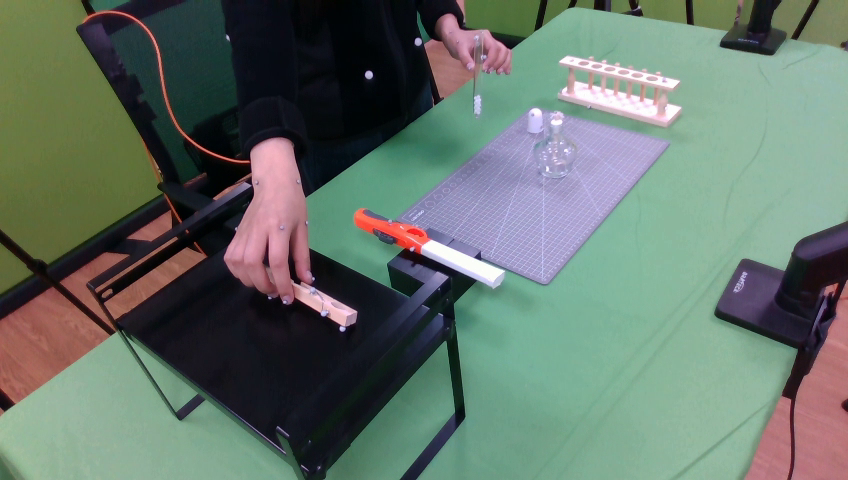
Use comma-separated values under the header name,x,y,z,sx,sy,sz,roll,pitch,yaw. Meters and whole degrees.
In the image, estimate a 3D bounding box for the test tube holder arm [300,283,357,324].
name,x,y,z,sx,sy,sz,roll,pitch,yaw
test tube holder arm,-0.105,0.066,0.638,0.087,0.015,0.010,21,14,33

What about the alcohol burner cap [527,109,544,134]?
name,x,y,z,sx,sy,sz,roll,pitch,yaw
alcohol burner cap,0.222,-0.238,1.203,0.034,0.048,0.033,-5,40,5

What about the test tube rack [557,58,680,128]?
name,x,y,z,sx,sy,sz,roll,pitch,yaw
test tube rack,0.395,-0.309,1.230,0.240,0.085,0.067,25,50,33

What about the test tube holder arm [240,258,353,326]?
name,x,y,z,sx,sy,sz,roll,pitch,yaw
test tube holder arm,-0.143,0.053,0.658,0.177,0.015,0.013,21,14,32

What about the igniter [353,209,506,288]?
name,x,y,z,sx,sy,sz,roll,pitch,yaw
igniter,-0.003,0.006,0.892,0.274,0.025,0.057,24,38,31

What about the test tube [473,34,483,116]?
name,x,y,z,sx,sy,sz,roll,pitch,yaw
test tube,0.095,-0.288,1.067,0.017,0.151,0.017,-2,39,2

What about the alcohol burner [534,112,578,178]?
name,x,y,z,sx,sy,sz,roll,pitch,yaw
alcohol burner,0.232,-0.170,1.066,0.078,0.119,0.077,-5,39,5
